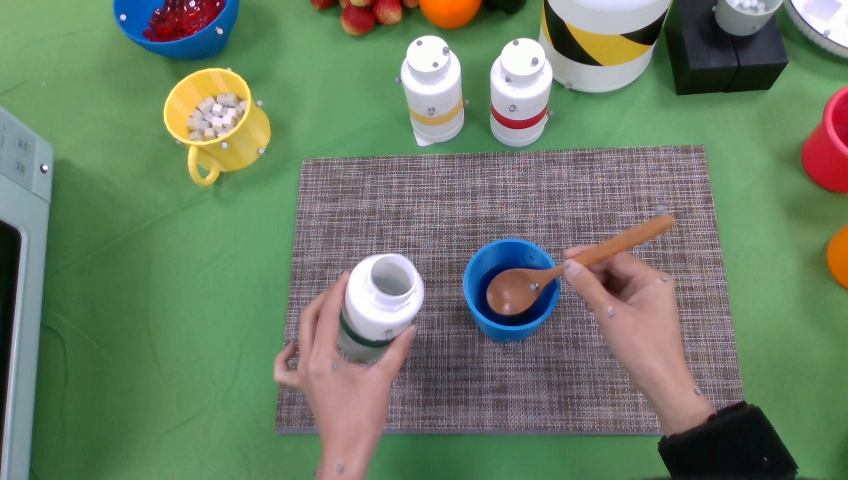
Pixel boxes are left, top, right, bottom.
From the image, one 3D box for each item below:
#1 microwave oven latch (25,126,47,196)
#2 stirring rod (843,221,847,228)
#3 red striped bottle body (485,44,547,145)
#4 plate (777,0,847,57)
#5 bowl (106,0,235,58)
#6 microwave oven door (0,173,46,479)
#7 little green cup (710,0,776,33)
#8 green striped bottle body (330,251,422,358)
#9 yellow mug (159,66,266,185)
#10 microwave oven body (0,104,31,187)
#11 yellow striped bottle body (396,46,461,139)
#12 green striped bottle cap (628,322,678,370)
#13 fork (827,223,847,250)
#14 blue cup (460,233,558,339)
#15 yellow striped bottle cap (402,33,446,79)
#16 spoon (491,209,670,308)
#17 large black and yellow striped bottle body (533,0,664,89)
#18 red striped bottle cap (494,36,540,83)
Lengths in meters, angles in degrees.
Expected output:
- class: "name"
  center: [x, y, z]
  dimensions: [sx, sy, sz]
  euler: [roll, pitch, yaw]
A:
- class: "microwave oven latch"
  center: [-0.454, -0.089, 0.693]
  dimensions: [0.030, 0.030, 0.078]
  euler: [-8, 70, 2]
- class: "stirring rod"
  center: [0.424, 0.021, 0.535]
  dimensions: [0.014, 0.006, 0.175]
  euler: [0, 26, 4]
- class: "red striped bottle body"
  center: [0.098, -0.158, 0.641]
  dimensions: [0.063, 0.120, 0.062]
  euler: [-3, 67, 9]
- class: "plate"
  center: [0.506, -0.288, 0.693]
  dimensions: [0.209, 0.038, 0.207]
  euler: [-2, 70, 5]
- class: "bowl"
  center: [-0.297, -0.280, 0.748]
  dimensions: [0.151, 0.077, 0.150]
  euler: [-1, 70, 4]
- class: "microwave oven door"
  center: [-0.432, 0.077, 0.522]
  dimensions: [0.039, 0.245, 0.353]
  euler: [-11, 69, 2]
- class: "little green cup"
  center: [0.336, -0.253, 0.643]
  dimensions: [0.061, 0.039, 0.061]
  euler: [-1, 68, 4]
- class: "green striped bottle body"
  center: [-0.041, 0.053, 0.511]
  dimensions: [0.063, 0.120, 0.062]
  euler: [8, 60, -14]
- class: "yellow mug"
  center: [-0.244, -0.125, 0.691]
  dimensions: [0.100, 0.064, 0.130]
  euler: [8, 71, 8]
- class: "microwave oven body"
  center: [-0.582, 0.066, 0.546]
  dimensions: [0.326, 0.262, 0.438]
  euler: [-10, 70, 1]
- class: "yellow striped bottle body"
  center: [0.005, -0.166, 0.653]
  dimensions: [0.063, 0.121, 0.062]
  euler: [-2, 69, 6]
- class: "green striped bottle cap"
  center: [0.221, 0.102, 0.584]
  dimensions: [0.044, 0.020, 0.044]
  euler: [-2, 63, 4]
- class: "fork"
  center: [0.454, 0.022, 0.524]
  dimensions: [0.028, 0.019, 0.205]
  euler: [-39, 27, -8]
- class: "blue cup"
  center: [0.077, 0.052, 0.571]
  dimensions: [0.092, 0.101, 0.092]
  euler: [-1, 68, 4]
- class: "yellow striped bottle cap"
  center: [0.000, -0.184, 0.605]
  dimensions: [0.044, 0.019, 0.044]
  euler: [-1, 71, 4]
- class: "spoon"
  center: [0.117, 0.019, 0.501]
  dimensions: [0.022, 0.193, 0.041]
  euler: [-11, 76, -38]
- class: "large black and yellow striped bottle body"
  center: [0.186, -0.262, 0.637]
  dimensions: [0.130, 0.185, 0.130]
  euler: [-2, 69, 5]
- class: "red striped bottle cap"
  center: [0.091, -0.177, 0.593]
  dimensions: [0.044, 0.018, 0.044]
  euler: [0, 68, 1]
